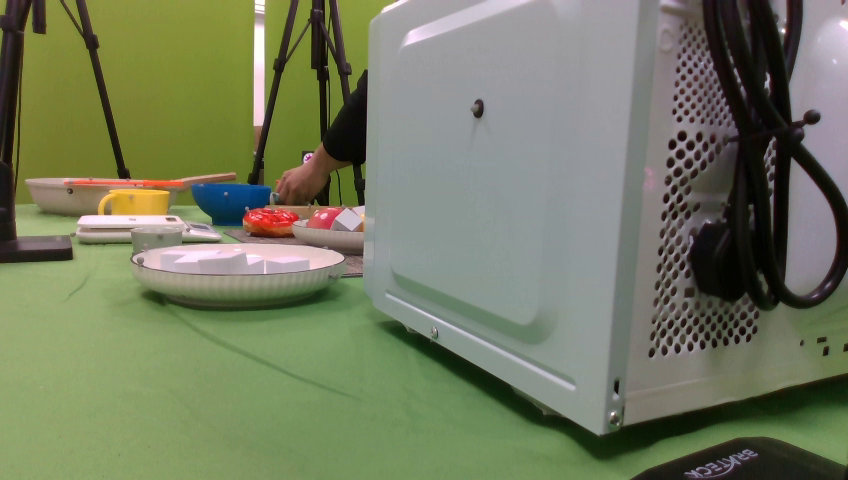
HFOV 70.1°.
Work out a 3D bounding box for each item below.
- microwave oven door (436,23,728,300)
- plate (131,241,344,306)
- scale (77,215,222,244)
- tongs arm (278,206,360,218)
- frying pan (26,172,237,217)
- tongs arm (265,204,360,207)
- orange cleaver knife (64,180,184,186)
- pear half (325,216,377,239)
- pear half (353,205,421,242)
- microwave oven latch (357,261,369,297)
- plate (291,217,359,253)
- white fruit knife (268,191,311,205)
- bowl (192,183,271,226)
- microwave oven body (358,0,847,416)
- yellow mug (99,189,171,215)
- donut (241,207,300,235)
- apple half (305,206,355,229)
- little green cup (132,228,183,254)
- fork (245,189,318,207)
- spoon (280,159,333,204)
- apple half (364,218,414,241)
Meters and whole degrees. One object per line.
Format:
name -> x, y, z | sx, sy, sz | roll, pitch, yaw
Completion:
microwave oven door -> 0.180, -0.073, 0.621 | 0.358, 0.243, 0.039 | -2, 9, -29
plate -> -0.187, 0.033, 0.625 | 0.208, 0.039, 0.207 | 2, 7, 0
scale -> -0.434, -0.019, 0.963 | 0.202, 0.031, 0.148 | -1, 9, -27
tongs arm -> -0.172, -0.066, 1.402 | 0.387, 0.026, 0.050 | -3, 4, -40
frying pan -> -0.624, -0.118, 1.387 | 0.305, 0.102, 0.490 | 8, 17, 32
tongs arm -> -0.219, -0.073, 1.470 | 0.389, 0.027, 0.028 | -1, 0, -26
orange cleaver knife -> -0.595, -0.114, 1.212 | 0.212, 0.012, 0.077 | -4, 6, -41
pear half -> -0.118, -0.023, 0.996 | 0.088, 0.031, 0.070 | -5, 23, -26
pear half -> -0.051, -0.024, 0.905 | 0.110, 0.056, 0.076 | 2, -2, -38
microwave oven latch -> -0.019, 0.033, 0.531 | 0.079, 0.029, 0.030 | -1, 7, -28
plate -> -0.103, -0.009, 0.945 | 0.209, 0.038, 0.209 | 2, 7, 0
white fruit knife -> -0.364, -0.104, 1.464 | 0.208, 0.027, 0.016 | 15, -1, -34
bowl -> -0.382, -0.071, 1.202 | 0.151, 0.077, 0.151 | 3, 7, 0
microwave oven body -> 0.211, -0.047, 0.474 | 0.444, 0.260, 0.324 | -1, 7, -28
yellow mug -> -0.518, -0.055, 1.080 | 0.099, 0.064, 0.131 | 6, 9, 26
donut -> -0.263, -0.031, 1.039 | 0.099, 0.048, 0.099 | 5, 9, 0
apple half -> -0.138, -0.025, 0.917 | 0.081, 0.053, 0.074 | 0, 10, -43
little green cup -> -0.342, 0.006, 0.779 | 0.061, 0.038, 0.061 | 2, 8, 0
fork -> -0.353, -0.104, 1.521 | 0.028, 0.018, 0.208 | -3, -13, 45
spoon -> -0.317, -0.159, 1.640 | 0.194, 0.022, 0.041 | -49, 32, -20
apple half -> -0.054, -0.019, 0.967 | 0.081, 0.033, 0.081 | -3, 10, 1
